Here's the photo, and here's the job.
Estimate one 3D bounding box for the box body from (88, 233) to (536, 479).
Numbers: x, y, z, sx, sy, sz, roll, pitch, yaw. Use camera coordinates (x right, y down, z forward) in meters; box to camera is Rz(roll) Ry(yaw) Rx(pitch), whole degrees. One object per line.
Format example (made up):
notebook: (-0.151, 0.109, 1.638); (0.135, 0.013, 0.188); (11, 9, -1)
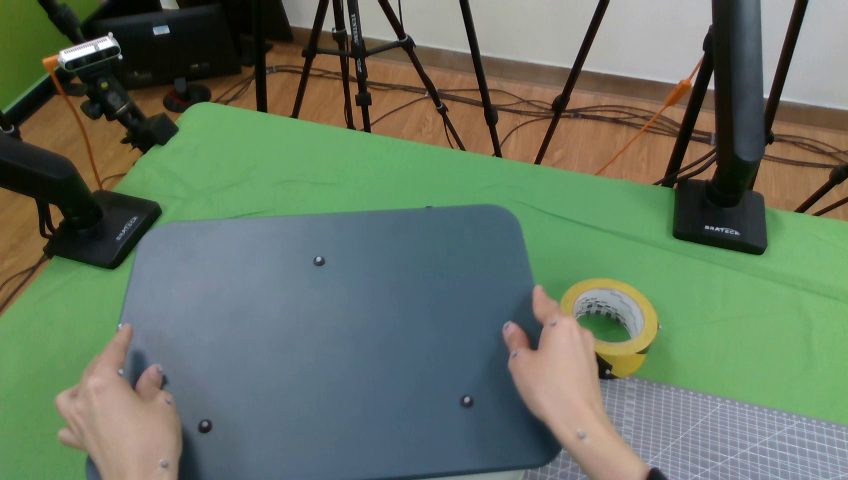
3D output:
box body: (-0.091, 0.148, 0.613); (0.364, 0.162, 0.251); (-4, 49, -1)

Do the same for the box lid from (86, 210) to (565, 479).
box lid: (-0.076, 0.083, 0.530); (0.372, 0.015, 0.260); (-3, 53, -6)

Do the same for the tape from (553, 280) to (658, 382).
tape: (0.211, 0.105, 0.716); (0.117, 0.053, 0.115); (0, 47, 0)
